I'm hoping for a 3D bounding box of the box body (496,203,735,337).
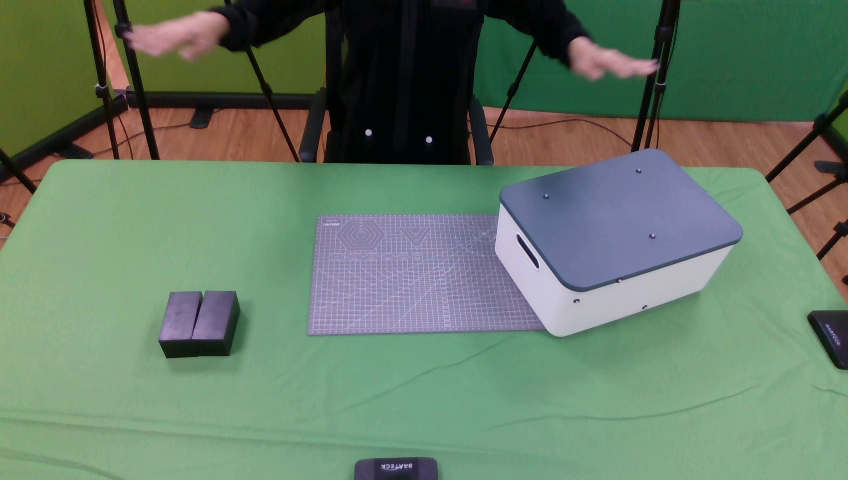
[{"bbox_3d":[0.340,0.003,1.118,0.364,0.161,0.252,-15,49,-18],"label":"box body"}]

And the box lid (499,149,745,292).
[{"bbox_3d":[0.341,-0.048,1.064,0.372,0.015,0.261,-15,49,-18],"label":"box lid"}]
